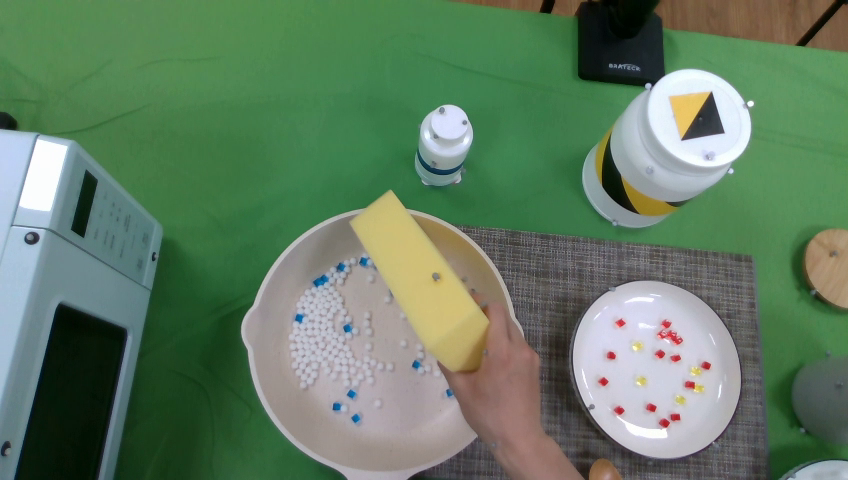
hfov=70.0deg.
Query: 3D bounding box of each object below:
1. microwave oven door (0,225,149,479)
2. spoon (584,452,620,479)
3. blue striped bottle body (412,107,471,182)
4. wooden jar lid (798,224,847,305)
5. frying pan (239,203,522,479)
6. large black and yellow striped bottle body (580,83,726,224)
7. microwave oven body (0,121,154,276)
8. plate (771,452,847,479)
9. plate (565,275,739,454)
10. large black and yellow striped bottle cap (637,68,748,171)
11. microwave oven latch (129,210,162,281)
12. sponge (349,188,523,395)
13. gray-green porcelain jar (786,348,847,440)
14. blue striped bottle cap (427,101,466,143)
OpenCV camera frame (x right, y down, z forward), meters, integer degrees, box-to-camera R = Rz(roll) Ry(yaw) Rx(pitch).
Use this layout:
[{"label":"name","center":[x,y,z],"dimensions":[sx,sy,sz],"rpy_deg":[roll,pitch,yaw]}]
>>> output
[{"label":"microwave oven door","center":[-0.332,0.188,0.530],"dimensions":[0.039,0.244,0.354],"rpy_deg":[6,74,-4]},{"label":"spoon","center":[0.251,0.319,0.687],"dimensions":[0.193,0.022,0.041],"rpy_deg":[46,58,5]},{"label":"blue striped bottle body","center":[0.021,-0.120,0.732],"dimensions":[0.063,0.121,0.062],"rpy_deg":[2,74,-5]},{"label":"wooden jar lid","center":[0.544,0.033,0.799],"dimensions":[0.108,0.021,0.108],"rpy_deg":[1,76,-5]},{"label":"frying pan","center":[-0.052,0.199,0.644],"dimensions":[0.307,0.103,0.484],"rpy_deg":[4,66,-2]},{"label":"large black and yellow striped bottle body","center":[0.276,-0.106,0.723],"dimensions":[0.131,0.184,0.130],"rpy_deg":[2,74,-5]},{"label":"microwave oven body","center":[-0.473,0.133,0.535],"dimensions":[0.326,0.261,0.439],"rpy_deg":[6,75,-5]},{"label":"plate","center":[0.475,0.352,0.697],"dimensions":[0.208,0.039,0.206],"rpy_deg":[2,74,-5]},{"label":"plate","center":[0.269,0.146,0.726],"dimensions":[0.209,0.038,0.208],"rpy_deg":[1,75,-5]},{"label":"large black and yellow striped bottle cap","center":[0.284,-0.129,0.641],"dimensions":[0.115,0.019,0.114],"rpy_deg":[2,73,-5]},{"label":"microwave oven latch","center":[-0.320,0.005,0.686],"dimensions":[0.030,0.029,0.079],"rpy_deg":[9,75,-4]},{"label":"sponge","center":[0.008,0.049,0.637],"dimensions":[0.061,0.119,0.204],"rpy_deg":[-38,46,2]},{"label":"gray-green porcelain jar","center":[0.500,0.178,0.700],"dimensions":[0.106,0.127,0.105],"rpy_deg":[2,74,-5]},{"label":"blue striped bottle cap","center":[0.026,-0.133,0.683],"dimensions":[0.044,0.021,0.044],"rpy_deg":[1,72,-4]}]
